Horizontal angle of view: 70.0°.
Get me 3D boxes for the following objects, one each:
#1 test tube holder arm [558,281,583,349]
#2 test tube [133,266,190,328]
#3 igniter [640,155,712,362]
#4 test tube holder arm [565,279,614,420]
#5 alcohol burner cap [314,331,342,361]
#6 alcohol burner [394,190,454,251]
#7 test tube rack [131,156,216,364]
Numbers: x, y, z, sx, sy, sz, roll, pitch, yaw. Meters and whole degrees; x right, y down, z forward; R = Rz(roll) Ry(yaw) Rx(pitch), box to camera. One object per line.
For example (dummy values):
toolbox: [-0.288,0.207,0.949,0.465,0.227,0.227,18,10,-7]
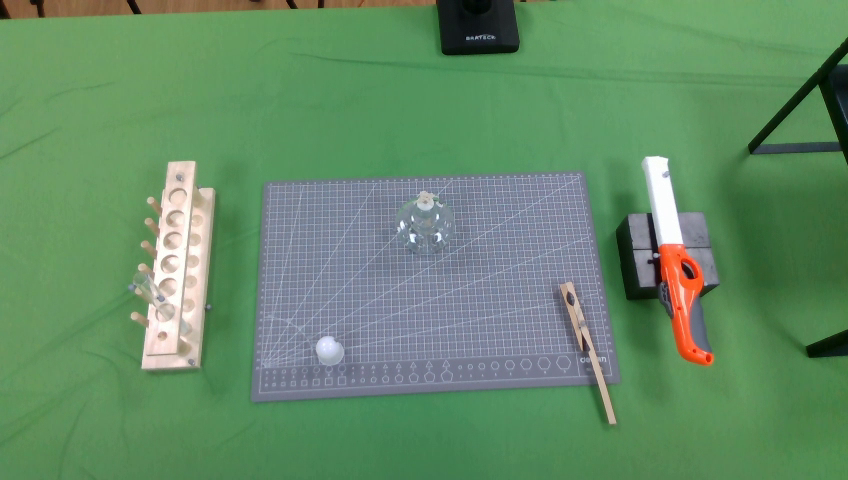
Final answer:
test tube holder arm: [0.188,0.094,0.768,0.010,0.015,0.087,-19,71,15]
test tube: [-0.289,0.067,0.675,0.017,0.151,0.017,1,62,-2]
igniter: [0.308,0.015,0.751,0.057,0.025,0.274,1,65,-4]
test tube holder arm: [0.204,0.134,0.753,0.013,0.015,0.177,-20,71,15]
alcohol burner cap: [-0.118,0.126,0.731,0.034,0.048,0.033,1,67,-3]
alcohol burner: [0.000,-0.032,0.761,0.078,0.120,0.077,0,69,0]
test tube rack: [-0.311,0.023,0.746,0.067,0.086,0.240,-2,68,-2]
